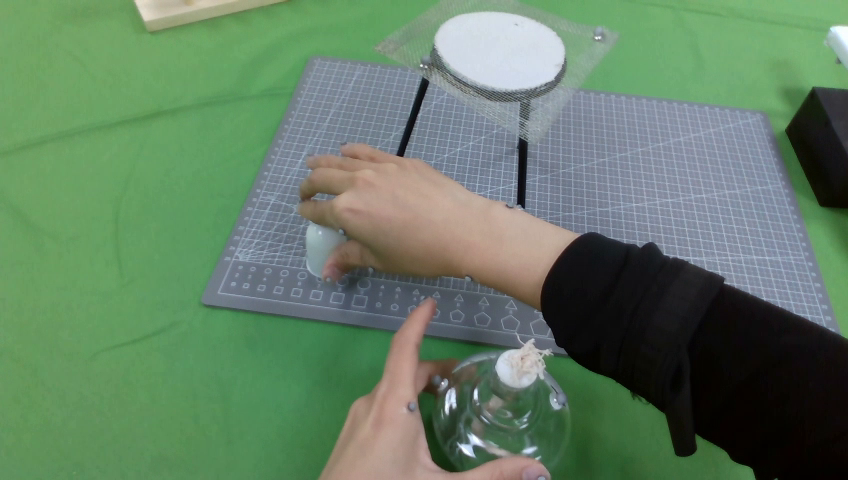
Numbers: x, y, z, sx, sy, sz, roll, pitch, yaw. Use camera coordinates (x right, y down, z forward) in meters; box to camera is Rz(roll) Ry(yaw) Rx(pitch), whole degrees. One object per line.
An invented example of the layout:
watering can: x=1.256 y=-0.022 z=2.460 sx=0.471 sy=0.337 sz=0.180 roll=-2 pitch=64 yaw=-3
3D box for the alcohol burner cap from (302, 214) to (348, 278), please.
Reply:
alcohol burner cap: x=-0.071 y=0.001 z=0.430 sx=0.034 sy=0.048 sz=0.033 roll=4 pitch=52 yaw=-5

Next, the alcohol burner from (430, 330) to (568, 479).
alcohol burner: x=0.042 y=0.086 z=0.329 sx=0.078 sy=0.120 sz=0.077 roll=0 pitch=51 yaw=0

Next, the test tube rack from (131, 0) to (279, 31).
test tube rack: x=-0.192 y=-0.304 z=0.642 sx=0.243 sy=0.086 sz=0.066 roll=-22 pitch=57 yaw=-20

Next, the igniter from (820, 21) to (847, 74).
igniter: x=0.391 y=-0.103 z=0.499 sx=0.057 sy=0.025 sz=0.274 roll=3 pitch=49 yaw=3

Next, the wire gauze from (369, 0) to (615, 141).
wire gauze: x=0.047 y=-0.126 z=0.395 sx=0.124 sy=0.011 sz=0.121 roll=31 pitch=56 yaw=17

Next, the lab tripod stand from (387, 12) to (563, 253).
lab tripod stand: x=0.047 y=-0.082 z=0.447 sx=0.148 sy=0.132 sz=0.147 roll=3 pitch=52 yaw=-4
